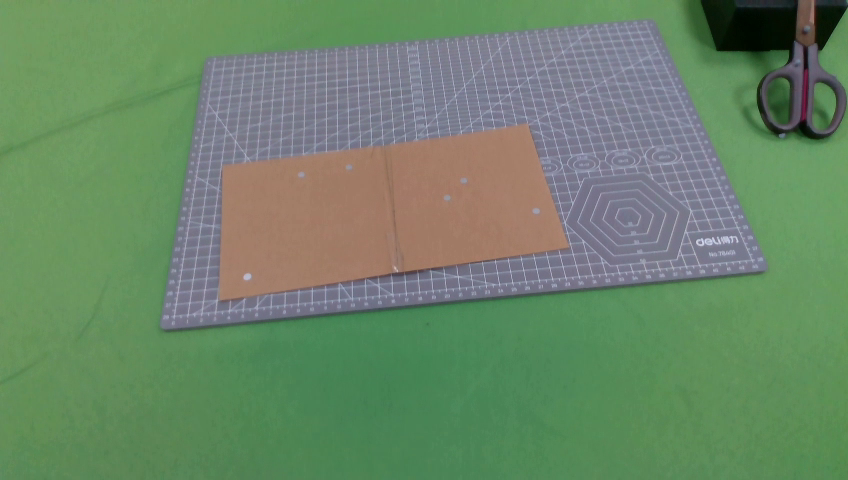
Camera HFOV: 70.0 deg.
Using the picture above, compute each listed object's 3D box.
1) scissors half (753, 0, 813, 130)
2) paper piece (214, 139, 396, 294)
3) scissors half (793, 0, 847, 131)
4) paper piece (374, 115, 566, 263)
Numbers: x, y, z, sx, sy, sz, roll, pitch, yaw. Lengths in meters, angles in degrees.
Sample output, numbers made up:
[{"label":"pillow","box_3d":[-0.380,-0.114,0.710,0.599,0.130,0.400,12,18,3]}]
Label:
[{"label":"scissors half","box_3d":[0.323,-0.180,0.534,0.040,0.013,0.174,16,81,9]},{"label":"paper piece","box_3d":[-0.098,-0.025,0.487,0.138,0.009,0.134,-8,54,-2]},{"label":"scissors half","box_3d":[0.343,-0.179,0.530,0.040,0.013,0.174,-3,78,11]},{"label":"paper piece","box_3d":[0.033,-0.046,0.495,0.136,0.004,0.134,-8,56,-4]}]
